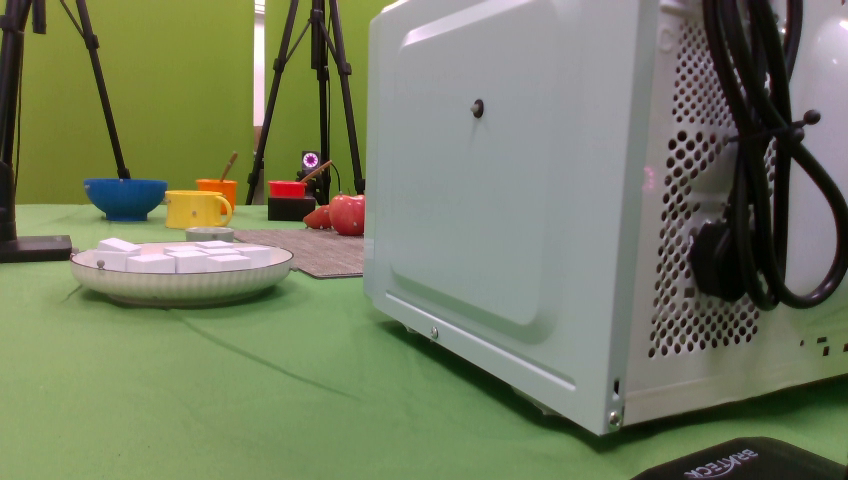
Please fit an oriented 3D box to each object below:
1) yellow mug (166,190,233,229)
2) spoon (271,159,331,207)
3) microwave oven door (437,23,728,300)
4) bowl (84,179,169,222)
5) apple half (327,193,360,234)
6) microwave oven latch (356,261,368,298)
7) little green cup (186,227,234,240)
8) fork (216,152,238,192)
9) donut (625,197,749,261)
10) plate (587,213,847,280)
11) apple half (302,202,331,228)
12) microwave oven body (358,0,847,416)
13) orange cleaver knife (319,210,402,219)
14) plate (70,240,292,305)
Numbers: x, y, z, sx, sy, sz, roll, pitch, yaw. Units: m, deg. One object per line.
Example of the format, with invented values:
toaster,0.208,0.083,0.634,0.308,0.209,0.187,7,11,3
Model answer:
yellow mug,-0.415,-0.057,1.132,0.130,0.064,0.100,6,8,16
spoon,-0.308,-0.142,1.514,0.193,0.021,0.041,-41,5,9
microwave oven door,0.181,-0.072,0.621,0.358,0.243,0.039,-2,8,-29
bowl,-0.584,-0.078,1.194,0.151,0.077,0.151,3,8,0
apple half,-0.132,-0.047,1.087,0.081,0.074,0.053,5,11,-13
microwave oven latch,-0.020,0.033,0.530,0.079,0.029,0.030,0,7,-26
little green cup,-0.284,0.005,0.805,0.061,0.038,0.061,2,8,0
fork,-0.455,-0.132,1.367,0.028,0.018,0.207,-2,-35,-37
donut,0.223,-0.008,0.519,0.099,0.048,0.099,14,2,0
plate,0.244,0.002,0.512,0.209,0.038,0.209,1,7,0
apple half,-0.192,-0.043,1.169,0.081,0.032,0.081,-23,-12,-5
microwave oven body,0.211,-0.047,0.474,0.444,0.260,0.324,-1,8,-28
orange cleaver knife,-0.142,-0.057,1.394,0.077,0.012,0.212,1,6,44
plate,-0.242,0.031,0.618,0.208,0.039,0.207,2,8,0
